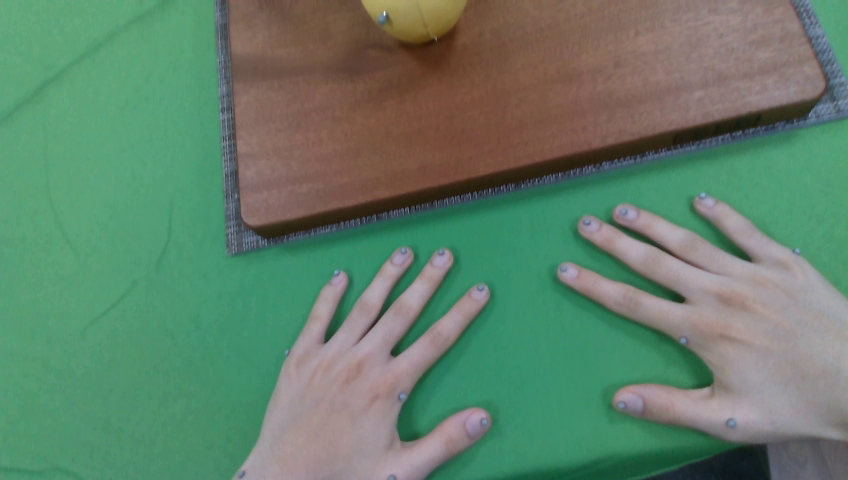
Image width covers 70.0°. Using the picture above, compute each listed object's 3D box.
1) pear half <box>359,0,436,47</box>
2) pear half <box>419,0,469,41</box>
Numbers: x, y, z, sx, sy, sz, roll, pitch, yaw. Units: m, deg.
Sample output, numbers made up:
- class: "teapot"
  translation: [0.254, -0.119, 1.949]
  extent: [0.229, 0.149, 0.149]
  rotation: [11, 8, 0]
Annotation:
- class: "pear half"
  translation: [-0.023, -0.183, 0.408]
  extent: [0.056, 0.111, 0.076]
  rotation: [-4, 66, 11]
- class: "pear half"
  translation: [0.014, -0.180, 0.410]
  extent: [0.031, 0.089, 0.070]
  rotation: [-5, 63, 12]
